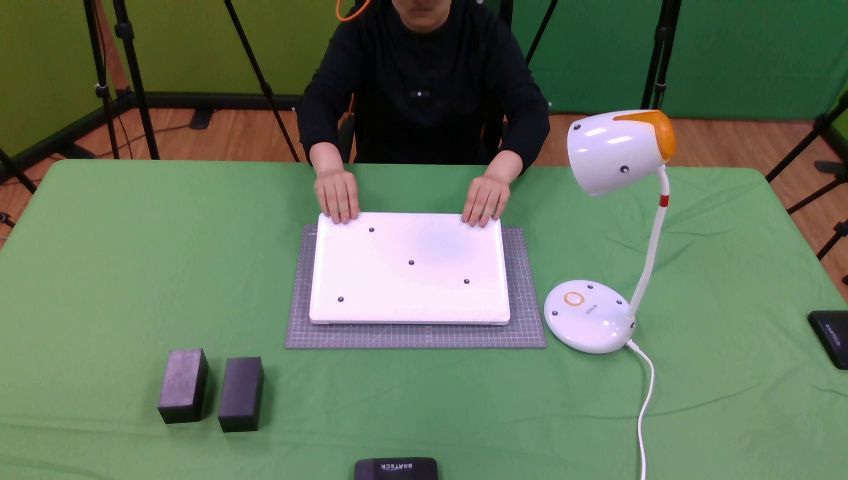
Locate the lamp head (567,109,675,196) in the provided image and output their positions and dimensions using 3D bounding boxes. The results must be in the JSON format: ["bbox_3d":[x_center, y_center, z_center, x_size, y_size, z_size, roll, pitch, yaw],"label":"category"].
[{"bbox_3d":[0.272,-0.123,0.818,0.122,0.113,0.112,-9,35,37],"label":"lamp head"}]

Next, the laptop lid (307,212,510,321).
[{"bbox_3d":[-0.026,0.043,1.108,0.357,0.013,0.240,2,55,-3],"label":"laptop lid"}]

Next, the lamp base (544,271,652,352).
[{"bbox_3d":[0.309,0.086,1.029,0.178,0.181,0.160,32,52,21],"label":"lamp base"}]

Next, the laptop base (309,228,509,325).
[{"bbox_3d":[-0.028,0.066,1.135,0.355,0.023,0.234,1,43,-4],"label":"laptop base"}]
